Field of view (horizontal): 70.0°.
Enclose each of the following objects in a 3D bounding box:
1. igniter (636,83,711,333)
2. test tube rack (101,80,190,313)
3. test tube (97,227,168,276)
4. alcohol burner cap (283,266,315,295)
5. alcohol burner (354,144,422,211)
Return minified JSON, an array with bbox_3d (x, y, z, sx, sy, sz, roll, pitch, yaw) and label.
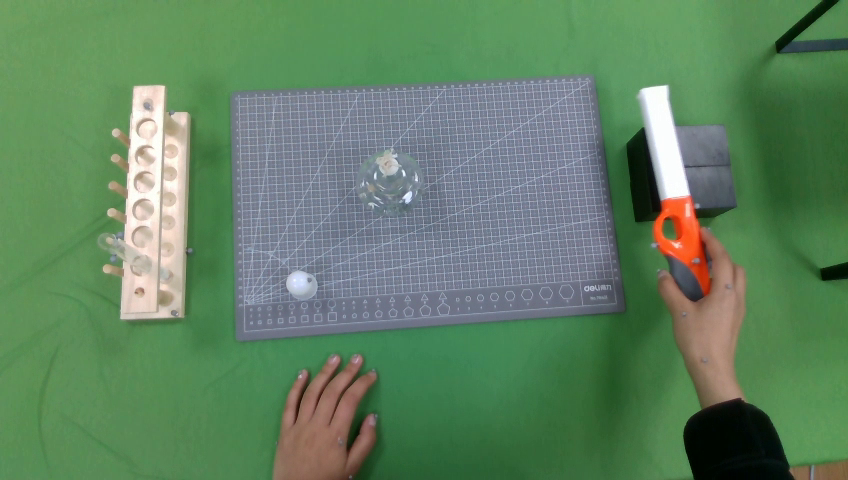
[{"bbox_3d":[0.272,-0.038,0.663,0.057,0.025,0.275,-7,82,-2],"label":"igniter"},{"bbox_3d":[-0.308,-0.044,0.664,0.067,0.085,0.241,-2,80,-3],"label":"test tube rack"},{"bbox_3d":[-0.287,0.014,0.605,0.017,0.151,0.017,1,75,-4],"label":"test tube"},{"bbox_3d":[-0.141,0.043,0.677,0.034,0.048,0.033,1,80,-4],"label":"alcohol burner cap"},{"bbox_3d":[-0.040,-0.073,0.667,0.078,0.119,0.077,0,81,-2],"label":"alcohol burner"}]
